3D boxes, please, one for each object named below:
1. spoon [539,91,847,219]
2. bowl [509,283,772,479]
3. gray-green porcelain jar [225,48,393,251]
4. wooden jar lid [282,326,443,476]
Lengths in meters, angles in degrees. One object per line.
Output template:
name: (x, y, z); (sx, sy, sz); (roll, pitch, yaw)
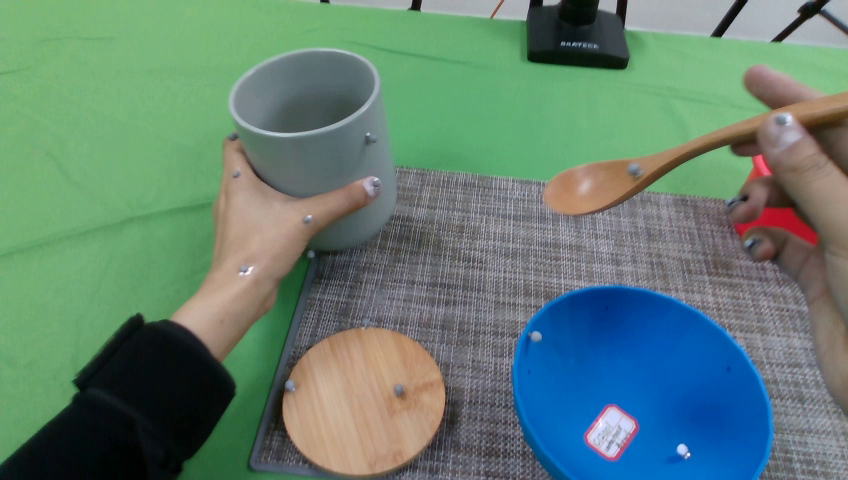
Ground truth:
spoon: (0.133, -0.042, 0.281); (0.022, 0.193, 0.041); (44, 55, -22)
bowl: (0.124, 0.110, 0.382); (0.151, 0.077, 0.150); (2, 49, -2)
gray-green porcelain jar: (-0.080, -0.063, 0.462); (0.106, 0.128, 0.105); (-2, 49, 3)
wooden jar lid: (-0.041, 0.109, 0.413); (0.108, 0.021, 0.107); (1, 48, -1)
